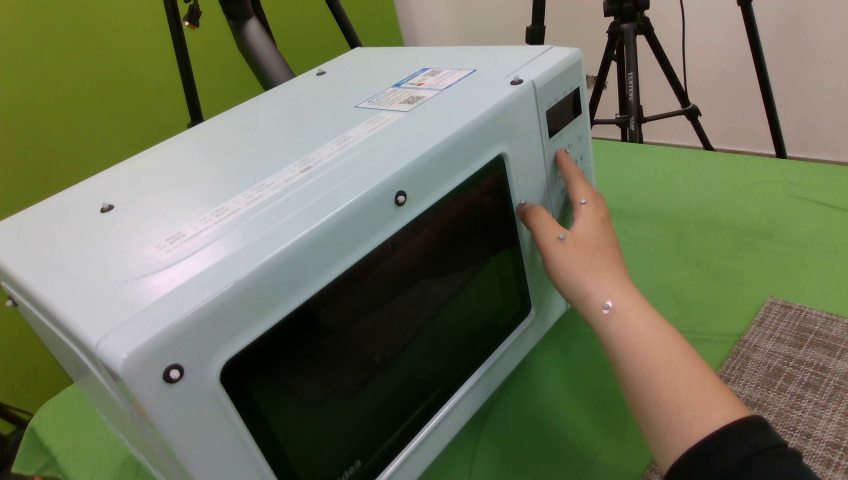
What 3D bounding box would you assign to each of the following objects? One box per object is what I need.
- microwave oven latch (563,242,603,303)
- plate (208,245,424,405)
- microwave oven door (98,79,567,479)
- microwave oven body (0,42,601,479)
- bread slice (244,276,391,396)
[{"bbox_3d":[0.155,0.031,0.624,0.030,0.030,0.079,18,45,42],"label":"microwave oven latch"},{"bbox_3d":[-0.097,0.078,0.574,0.209,0.038,0.207,-12,31,8],"label":"plate"},{"bbox_3d":[-0.013,0.061,0.450,0.039,0.246,0.355,16,43,41],"label":"microwave oven door"},{"bbox_3d":[-0.090,0.015,0.572,0.323,0.262,0.441,16,44,41],"label":"microwave oven body"},{"bbox_3d":[-0.099,0.080,0.579,0.131,0.019,0.104,-35,36,-24],"label":"bread slice"}]
